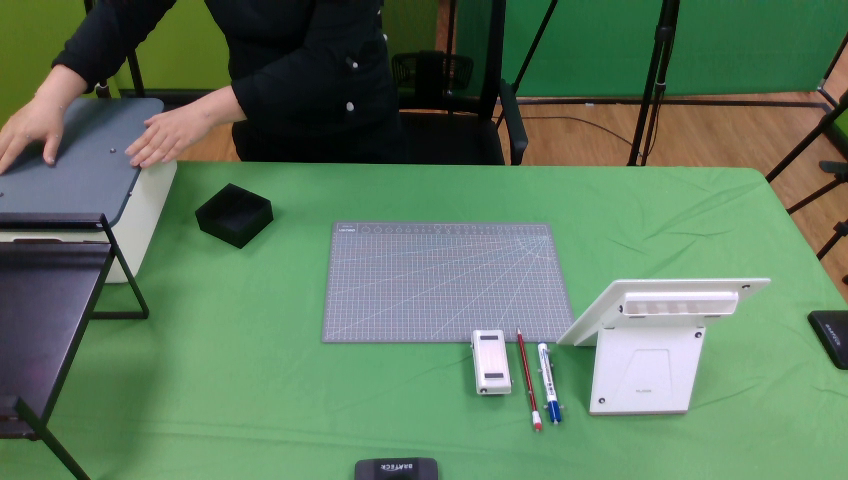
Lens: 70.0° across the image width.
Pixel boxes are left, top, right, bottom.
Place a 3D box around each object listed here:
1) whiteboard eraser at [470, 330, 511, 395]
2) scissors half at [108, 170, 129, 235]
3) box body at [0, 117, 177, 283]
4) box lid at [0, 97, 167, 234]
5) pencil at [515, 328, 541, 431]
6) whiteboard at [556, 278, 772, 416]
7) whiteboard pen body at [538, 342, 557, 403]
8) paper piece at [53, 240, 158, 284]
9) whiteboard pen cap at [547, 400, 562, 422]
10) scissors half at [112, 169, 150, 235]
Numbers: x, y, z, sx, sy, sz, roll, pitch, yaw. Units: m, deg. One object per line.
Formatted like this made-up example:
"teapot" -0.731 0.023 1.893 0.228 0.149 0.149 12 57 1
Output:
"whiteboard eraser" 0.110 0.202 0.998 0.055 0.042 0.112 1 46 -5
"scissors half" -0.617 -0.077 1.223 0.040 0.013 0.174 -14 54 -8
"box body" -0.640 -0.095 1.140 0.254 0.161 0.361 0 46 -4
"box lid" -0.636 -0.145 1.086 0.263 0.015 0.369 0 46 -4
"pencil" 0.169 0.224 1.002 0.012 0.012 0.192 -1 46 -6
"whiteboard" 0.347 0.174 0.903 0.217 0.306 0.143 1 65 -4
"whiteboard pen body" 0.205 0.228 0.997 0.017 0.017 0.140 1 47 -3
"paper piece" -0.593 0.037 1.135 0.136 0.009 0.137 3 33 8
"whiteboard pen cap" 0.205 0.269 0.956 0.018 0.018 0.033 0 48 -5
"scissors half" -0.596 -0.078 1.225 0.040 0.013 0.174 7 53 1
